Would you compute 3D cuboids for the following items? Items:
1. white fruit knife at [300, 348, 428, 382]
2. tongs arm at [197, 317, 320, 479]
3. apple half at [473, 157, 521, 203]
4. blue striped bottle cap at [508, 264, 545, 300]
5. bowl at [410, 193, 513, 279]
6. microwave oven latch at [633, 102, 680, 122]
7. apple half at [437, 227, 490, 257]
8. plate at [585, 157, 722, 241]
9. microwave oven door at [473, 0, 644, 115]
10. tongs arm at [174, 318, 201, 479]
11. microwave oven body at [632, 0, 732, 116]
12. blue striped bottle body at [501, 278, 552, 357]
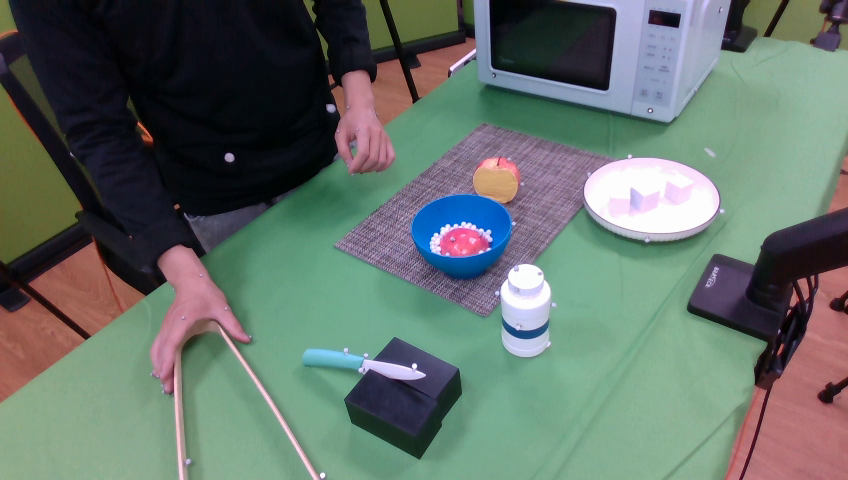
[{"bbox_3d":[-0.080,0.155,0.748,0.206,0.027,0.016,0,20,34],"label":"white fruit knife"},{"bbox_3d":[-0.198,0.207,0.749,0.028,0.028,0.384,-31,46,-22],"label":"tongs arm"},{"bbox_3d":[0.128,-0.107,1.030,0.080,0.075,0.053,4,38,19],"label":"apple half"},{"bbox_3d":[0.125,0.051,0.735,0.044,0.021,0.044,-6,39,5],"label":"blue striped bottle cap"},{"bbox_3d":[0.058,0.005,0.905,0.151,0.077,0.150,-4,40,4],"label":"bowl"},{"bbox_3d":[0.444,-0.249,1.157,0.078,0.029,0.030,21,49,30],"label":"microwave oven latch"},{"bbox_3d":[0.056,0.002,0.902,0.081,0.033,0.081,-3,41,3],"label":"apple half"},{"bbox_3d":[0.367,-0.063,0.979,0.207,0.039,0.206,-4,40,4],"label":"plate"},{"bbox_3d":[0.257,-0.396,1.199,0.353,0.245,0.039,21,48,29],"label":"microwave oven door"},{"bbox_3d":[-0.271,0.234,0.721,0.051,0.026,0.381,-19,41,-14],"label":"tongs arm"},{"bbox_3d":[0.377,-0.462,1.267,0.438,0.261,0.327,21,48,30],"label":"microwave oven body"},{"bbox_3d":[0.130,0.089,0.769,0.063,0.121,0.063,-4,41,4],"label":"blue striped bottle body"}]
